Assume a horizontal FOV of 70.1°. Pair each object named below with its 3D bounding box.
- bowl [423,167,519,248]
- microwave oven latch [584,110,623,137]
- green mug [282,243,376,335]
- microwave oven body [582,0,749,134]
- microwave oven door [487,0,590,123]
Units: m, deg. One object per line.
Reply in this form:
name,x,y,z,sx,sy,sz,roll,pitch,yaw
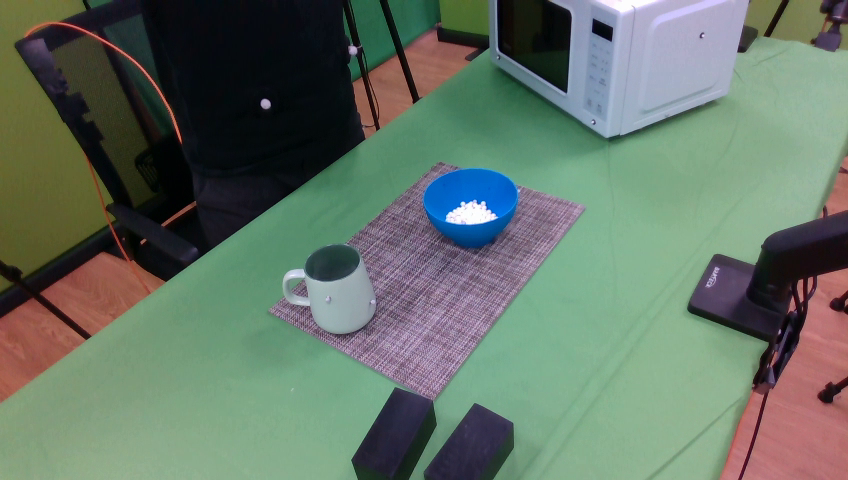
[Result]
bowl,0.076,-0.041,0.958,0.151,0.077,0.150,-4,40,4
microwave oven latch,0.337,-0.222,1.142,0.030,0.029,0.078,-21,42,-14
green mug,-0.134,0.069,0.838,0.125,0.105,0.092,-2,41,6
microwave oven body,0.382,-0.445,1.246,0.327,0.261,0.437,-22,42,-16
microwave oven door,0.232,-0.420,1.231,0.039,0.245,0.352,-22,43,-16
